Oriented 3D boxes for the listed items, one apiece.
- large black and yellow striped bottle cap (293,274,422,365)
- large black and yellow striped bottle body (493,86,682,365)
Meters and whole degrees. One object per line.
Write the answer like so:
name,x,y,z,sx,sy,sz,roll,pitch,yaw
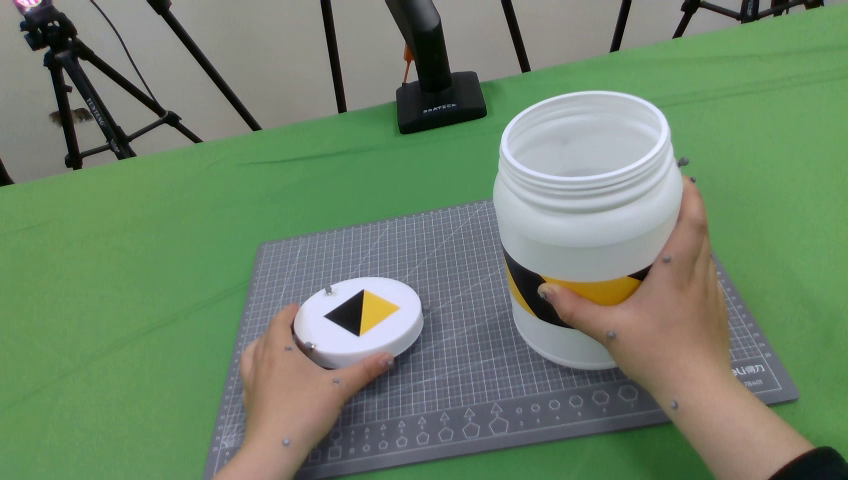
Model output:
large black and yellow striped bottle cap,-0.059,0.067,0.543,0.115,0.019,0.114,-4,30,2
large black and yellow striped bottle body,0.123,-0.008,0.460,0.130,0.186,0.129,-9,41,8
